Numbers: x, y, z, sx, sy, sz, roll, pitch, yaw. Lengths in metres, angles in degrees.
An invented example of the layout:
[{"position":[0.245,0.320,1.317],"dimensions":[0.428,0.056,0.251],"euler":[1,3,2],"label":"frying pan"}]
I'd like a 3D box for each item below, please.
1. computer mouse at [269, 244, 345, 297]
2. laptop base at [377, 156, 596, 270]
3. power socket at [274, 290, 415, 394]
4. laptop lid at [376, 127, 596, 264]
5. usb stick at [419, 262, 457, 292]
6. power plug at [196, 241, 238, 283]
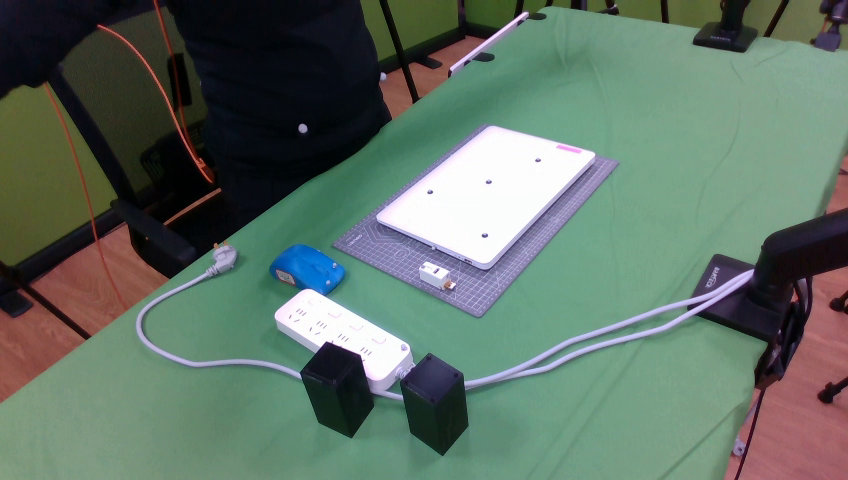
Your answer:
[{"position":[-0.181,0.044,0.932],"dimensions":[0.116,0.041,0.063],"euler":[23,46,25],"label":"computer mouse"},{"position":[0.116,-0.086,1.056],"dimensions":[0.233,0.023,0.355],"euler":[21,48,34],"label":"laptop base"},{"position":[-0.114,0.133,0.820],"dimensions":[0.225,0.033,0.072],"euler":[25,49,32],"label":"power socket"},{"position":[0.113,-0.096,1.050],"dimensions":[0.239,0.013,0.358],"euler":[24,49,34],"label":"laptop lid"},{"position":[0.022,0.056,0.892],"dimensions":[0.059,0.027,0.021],"euler":[25,47,30],"label":"usb stick"},{"position":[-0.336,0.031,0.968],"dimensions":[0.073,0.035,0.052],"euler":[-18,58,-27],"label":"power plug"}]
